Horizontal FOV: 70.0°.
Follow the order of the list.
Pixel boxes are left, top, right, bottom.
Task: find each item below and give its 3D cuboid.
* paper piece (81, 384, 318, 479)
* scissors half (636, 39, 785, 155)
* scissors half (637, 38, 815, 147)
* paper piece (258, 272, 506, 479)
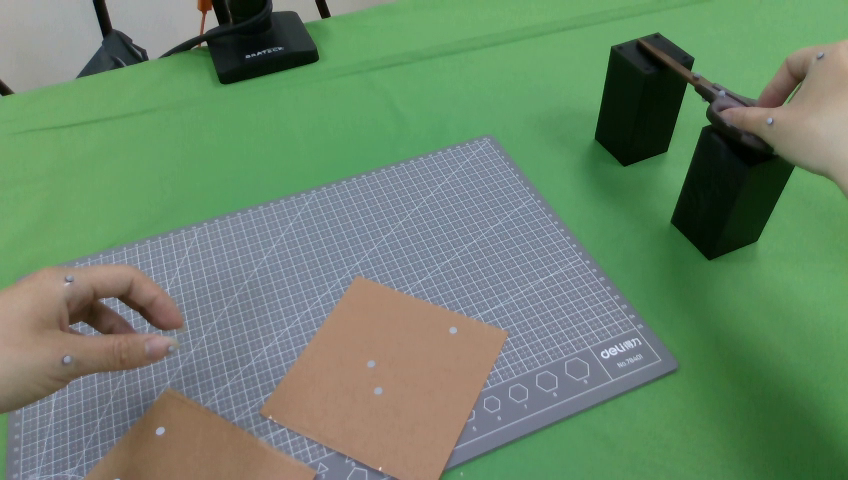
[{"bbox_3d":[-0.159,0.169,0.376,0.135,0.009,0.137,19,53,24],"label":"paper piece"},{"bbox_3d":[0.213,-0.119,0.473,0.040,0.013,0.173,-5,43,-16],"label":"scissors half"},{"bbox_3d":[0.231,-0.124,0.480,0.040,0.013,0.173,-22,50,-24],"label":"scissors half"},{"bbox_3d":[-0.026,0.092,0.436,0.134,0.004,0.135,19,52,20],"label":"paper piece"}]
